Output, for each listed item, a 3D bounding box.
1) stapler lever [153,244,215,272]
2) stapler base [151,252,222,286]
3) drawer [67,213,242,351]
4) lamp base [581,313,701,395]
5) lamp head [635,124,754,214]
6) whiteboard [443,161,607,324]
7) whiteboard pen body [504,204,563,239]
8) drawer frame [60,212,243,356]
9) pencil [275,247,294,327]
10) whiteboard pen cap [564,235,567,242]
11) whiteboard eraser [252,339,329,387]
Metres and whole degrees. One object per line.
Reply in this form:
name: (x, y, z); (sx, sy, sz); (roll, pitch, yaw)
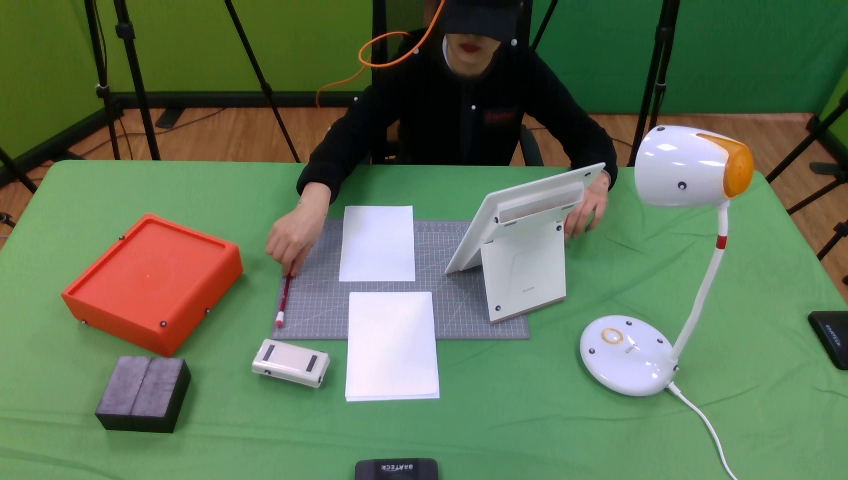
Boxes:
stapler lever: (-0.430, 0.026, 1.088); (0.118, 0.040, 0.027); (16, 33, 13)
stapler base: (-0.431, 0.047, 1.102); (0.130, 0.024, 0.041); (16, 33, 12)
drawer: (-0.461, 0.068, 1.056); (0.194, 0.073, 0.211); (19, 48, 13)
lamp base: (0.361, 0.144, 0.972); (0.178, 0.181, 0.160); (34, 53, 23)
lamp head: (0.351, -0.089, 0.775); (0.112, 0.113, 0.122); (-30, 30, -28)
whiteboard: (0.185, 0.026, 1.028); (0.217, 0.306, 0.143); (-15, 68, -18)
whiteboard pen body: (0.226, -0.036, 1.250); (0.140, 0.017, 0.017); (32, 52, 23)
drawer frame: (-0.462, 0.070, 1.053); (0.201, 0.083, 0.213); (18, 48, 12)
pencil: (-0.252, 0.080, 1.104); (0.012, 0.012, 0.193); (2, 44, -2)
whiteboard pen cap: (0.271, -0.008, 1.225); (0.033, 0.018, 0.018); (34, 53, 23)
whiteboard eraser: (-0.215, 0.199, 0.976); (0.112, 0.042, 0.055); (12, 45, 7)
